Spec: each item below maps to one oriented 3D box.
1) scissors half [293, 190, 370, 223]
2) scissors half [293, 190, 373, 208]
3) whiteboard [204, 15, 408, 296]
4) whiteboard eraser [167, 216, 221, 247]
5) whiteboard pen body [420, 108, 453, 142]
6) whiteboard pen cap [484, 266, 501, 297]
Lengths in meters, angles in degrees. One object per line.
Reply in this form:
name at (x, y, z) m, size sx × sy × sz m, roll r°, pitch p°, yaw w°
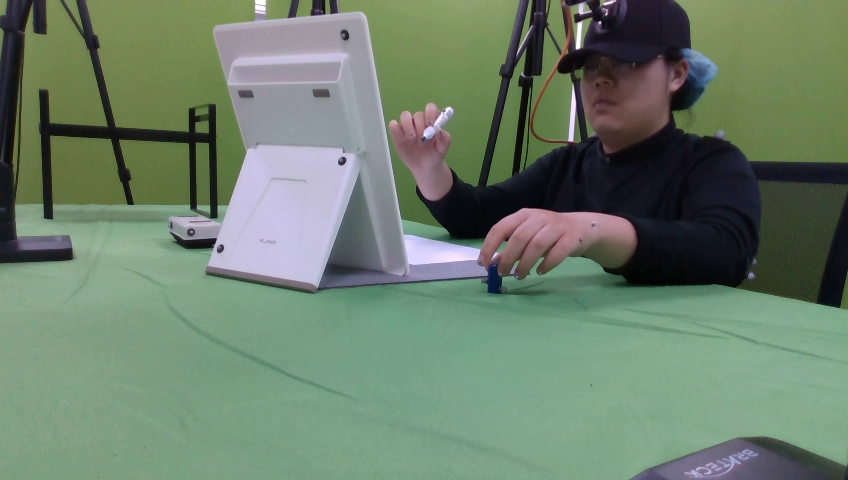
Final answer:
scissors half at (-0.205, -0.077, 1.338) m, size 0.175 × 0.040 × 0.013 m, roll 22°, pitch 11°, yaw -8°
scissors half at (-0.201, -0.096, 1.333) m, size 0.175 × 0.040 × 0.013 m, roll 5°, pitch 18°, yaw -4°
whiteboard at (-0.166, -0.072, 0.669) m, size 0.216 × 0.305 × 0.144 m, roll 8°, pitch 30°, yaw 30°
whiteboard eraser at (-0.350, -0.013, 0.920) m, size 0.056 × 0.042 × 0.112 m, roll 0°, pitch 7°, yaw -35°
whiteboard pen body at (0.018, -0.173, 0.912) m, size 0.017 × 0.017 × 0.141 m, roll 5°, pitch 30°, yaw 19°
whiteboard pen cap at (0.075, 0.047, 0.667) m, size 0.018 × 0.033 × 0.018 m, roll 4°, pitch 5°, yaw 0°
